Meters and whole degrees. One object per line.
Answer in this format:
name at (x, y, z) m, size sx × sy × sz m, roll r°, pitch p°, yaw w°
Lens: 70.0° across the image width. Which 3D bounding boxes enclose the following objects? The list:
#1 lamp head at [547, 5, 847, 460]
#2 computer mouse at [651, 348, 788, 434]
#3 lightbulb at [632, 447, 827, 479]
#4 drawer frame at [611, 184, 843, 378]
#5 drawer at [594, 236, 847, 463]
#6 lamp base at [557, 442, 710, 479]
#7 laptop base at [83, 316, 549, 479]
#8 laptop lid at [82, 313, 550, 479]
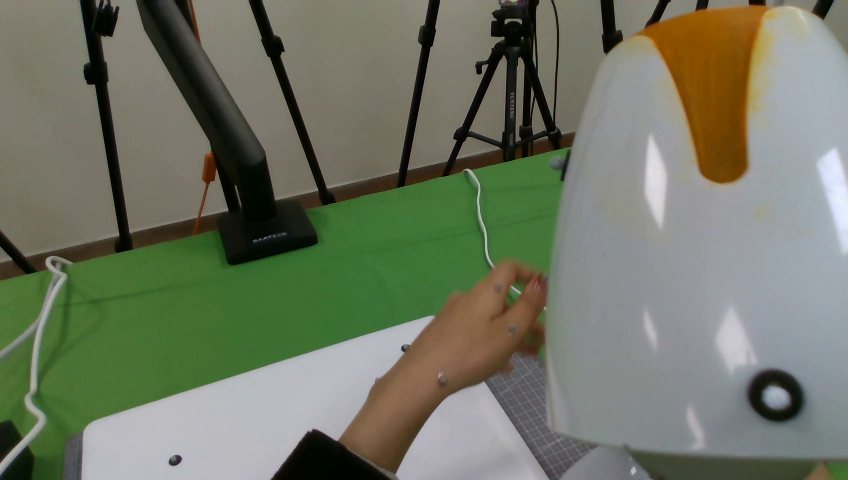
lamp head at (0.092, -0.003, 0.184) m, size 0.112 × 0.113 × 0.122 m, roll 0°, pitch 76°, yaw 4°
computer mouse at (0.269, 0.135, 0.553) m, size 0.117 × 0.041 × 0.062 m, roll 12°, pitch 33°, yaw 13°
lightbulb at (0.086, 0.021, 0.179) m, size 0.059 × 0.107 × 0.059 m, roll 2°, pitch -7°, yaw 1°
drawer frame at (0.333, 0.031, 0.677) m, size 0.200 × 0.083 × 0.213 m, roll 12°, pitch 36°, yaw 22°
drawer at (0.287, 0.091, 0.595) m, size 0.193 × 0.074 × 0.211 m, roll 11°, pitch 36°, yaw 21°
lamp base at (0.160, 0.156, 0.407) m, size 0.161 × 0.182 × 0.177 m, roll -5°, pitch 34°, yaw -3°
laptop base at (-0.101, 0.190, 0.524) m, size 0.355 × 0.023 × 0.232 m, roll -15°, pitch 39°, yaw -18°
laptop lid at (-0.100, 0.182, 0.515) m, size 0.357 × 0.013 × 0.239 m, roll -14°, pitch 38°, yaw -17°
